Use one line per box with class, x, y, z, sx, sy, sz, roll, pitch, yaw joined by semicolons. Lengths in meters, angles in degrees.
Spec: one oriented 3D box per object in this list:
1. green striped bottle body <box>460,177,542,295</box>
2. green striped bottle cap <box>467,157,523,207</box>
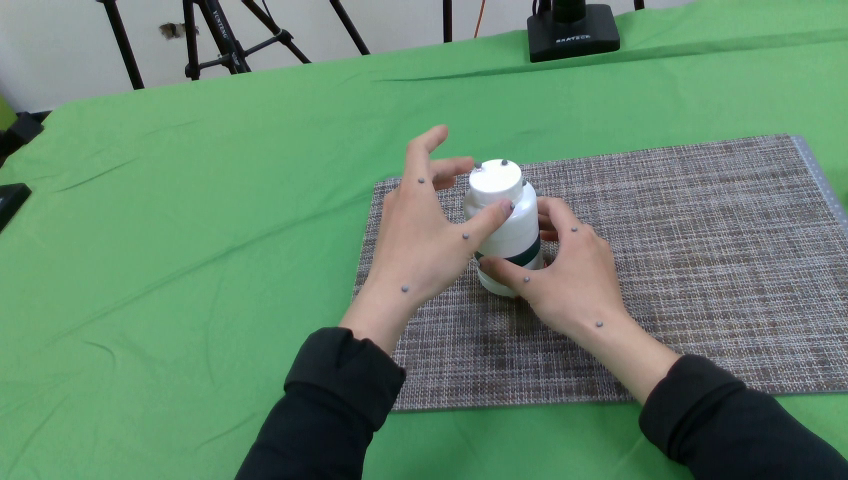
green striped bottle body;0.068;-0.012;0.533;0.063;0.120;0.062;-8;45;9
green striped bottle cap;0.058;-0.048;0.496;0.044;0.020;0.044;-9;47;10
